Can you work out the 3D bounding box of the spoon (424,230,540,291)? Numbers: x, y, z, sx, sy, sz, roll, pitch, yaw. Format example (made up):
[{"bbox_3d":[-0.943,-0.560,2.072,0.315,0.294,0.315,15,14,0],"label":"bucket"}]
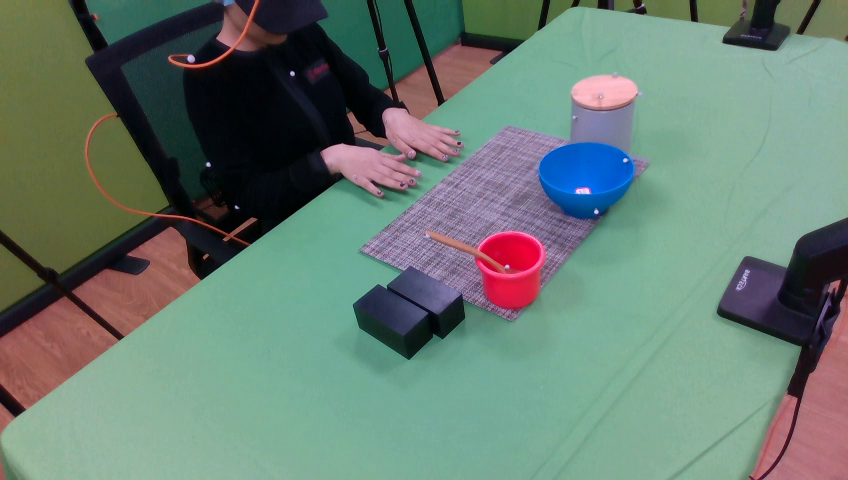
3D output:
[{"bbox_3d":[0.083,0.026,0.836,0.195,0.021,0.041,29,31,-24],"label":"spoon"}]

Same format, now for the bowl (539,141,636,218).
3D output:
[{"bbox_3d":[0.264,-0.089,0.989,0.151,0.077,0.150,-5,40,5],"label":"bowl"}]

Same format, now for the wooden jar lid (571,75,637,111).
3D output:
[{"bbox_3d":[0.305,-0.246,1.027,0.108,0.021,0.108,-5,41,5],"label":"wooden jar lid"}]

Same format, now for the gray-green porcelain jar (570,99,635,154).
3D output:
[{"bbox_3d":[0.313,-0.197,1.069,0.106,0.127,0.105,-6,40,5],"label":"gray-green porcelain jar"}]
